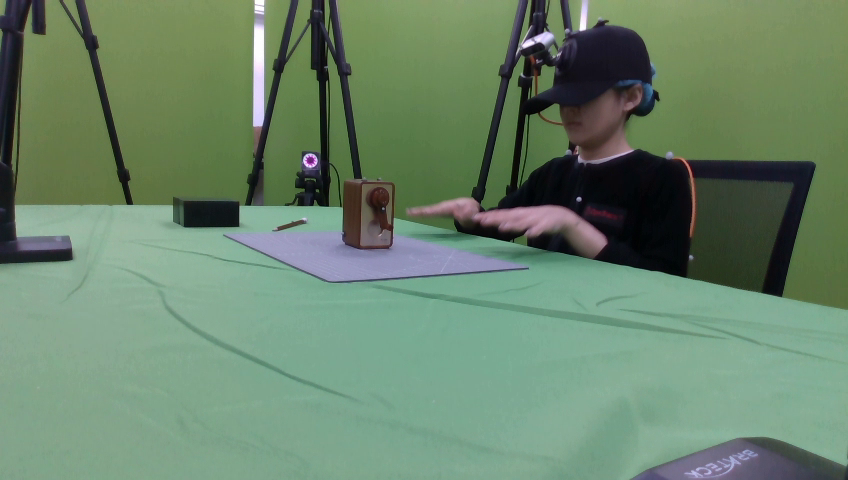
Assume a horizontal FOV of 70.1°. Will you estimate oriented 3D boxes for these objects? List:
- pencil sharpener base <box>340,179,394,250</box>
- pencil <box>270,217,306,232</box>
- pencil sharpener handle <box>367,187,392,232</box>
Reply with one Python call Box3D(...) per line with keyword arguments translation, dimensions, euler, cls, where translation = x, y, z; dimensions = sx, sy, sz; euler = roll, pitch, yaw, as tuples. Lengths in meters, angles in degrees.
Box3D(translation=(-0.091, -0.041, 0.959), dimensions=(0.061, 0.107, 0.076), euler=(-1, 9, -30), cls="pencil sharpener base")
Box3D(translation=(-0.271, -0.031, 1.212), dimensions=(0.012, 0.012, 0.194), euler=(4, 9, 7), cls="pencil")
Box3D(translation=(-0.062, -0.046, 0.915), dimensions=(0.036, 0.068, 0.030), euler=(-13, 15, -28), cls="pencil sharpener handle")
